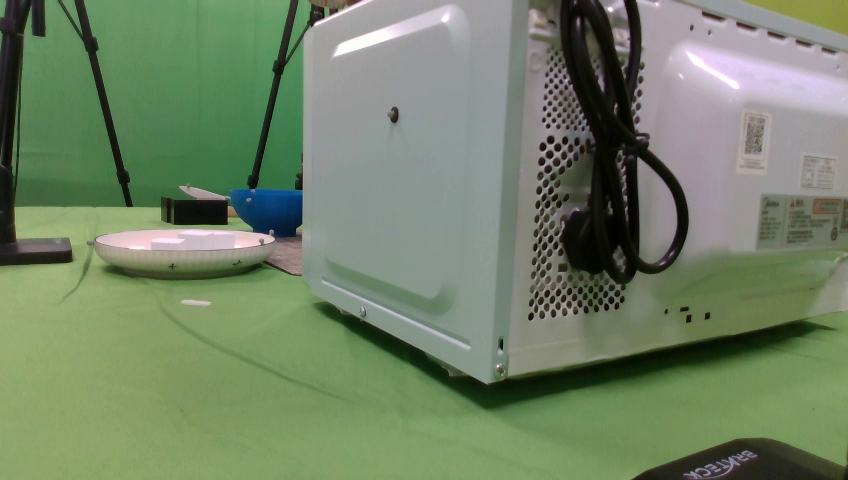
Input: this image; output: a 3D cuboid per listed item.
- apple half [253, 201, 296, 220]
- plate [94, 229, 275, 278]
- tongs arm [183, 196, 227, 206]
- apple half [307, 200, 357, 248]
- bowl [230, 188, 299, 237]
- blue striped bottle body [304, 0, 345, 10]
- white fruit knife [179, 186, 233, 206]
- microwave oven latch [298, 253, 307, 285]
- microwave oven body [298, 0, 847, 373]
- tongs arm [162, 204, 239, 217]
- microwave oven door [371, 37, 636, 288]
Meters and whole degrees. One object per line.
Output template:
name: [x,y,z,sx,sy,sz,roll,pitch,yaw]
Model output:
apple half: [-0.264,-0.053,1.067,0.081,0.033,0.081,1,8,0]
plate: [-0.291,0.016,0.750,0.208,0.039,0.207,2,7,0]
tongs arm: [-0.404,-0.081,1.479,0.385,0.026,0.050,3,9,-2]
apple half: [-0.135,-0.024,0.942,0.053,0.074,0.081,13,9,38]
bowl: [-0.264,-0.048,1.066,0.151,0.077,0.151,3,8,0]
blue striped bottle body: [-0.143,-0.415,0.905,0.063,0.120,0.063,8,4,0]
white fruit knife: [-0.413,-0.081,1.270,0.208,0.027,0.016,18,13,-41]
microwave oven latch: [-0.081,0.027,0.582,0.079,0.029,0.030,-2,8,-33]
microwave oven body: [0.151,-0.055,0.542,0.444,0.260,0.324,-2,7,-33]
tongs arm: [-0.396,-0.065,1.399,0.389,0.028,0.028,1,6,-15]
microwave oven door: [0.109,-0.080,0.686,0.358,0.243,0.039,-2,9,-33]
